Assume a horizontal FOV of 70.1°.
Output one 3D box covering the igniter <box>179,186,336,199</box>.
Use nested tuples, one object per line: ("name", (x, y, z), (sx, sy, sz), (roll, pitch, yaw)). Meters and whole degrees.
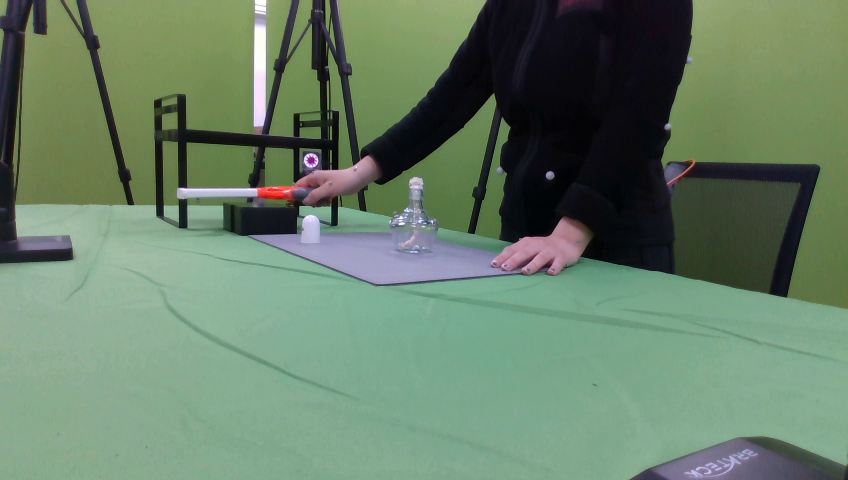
("igniter", (-0.294, -0.086, 1.099), (0.278, 0.025, 0.057), (-3, 9, -31))

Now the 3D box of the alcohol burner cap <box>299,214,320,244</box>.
("alcohol burner cap", (-0.185, -0.018, 0.979), (0.034, 0.048, 0.034), (3, 8, 0))

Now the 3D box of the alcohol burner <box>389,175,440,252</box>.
("alcohol burner", (-0.013, -0.041, 0.929), (0.078, 0.119, 0.078), (4, 8, 0))
